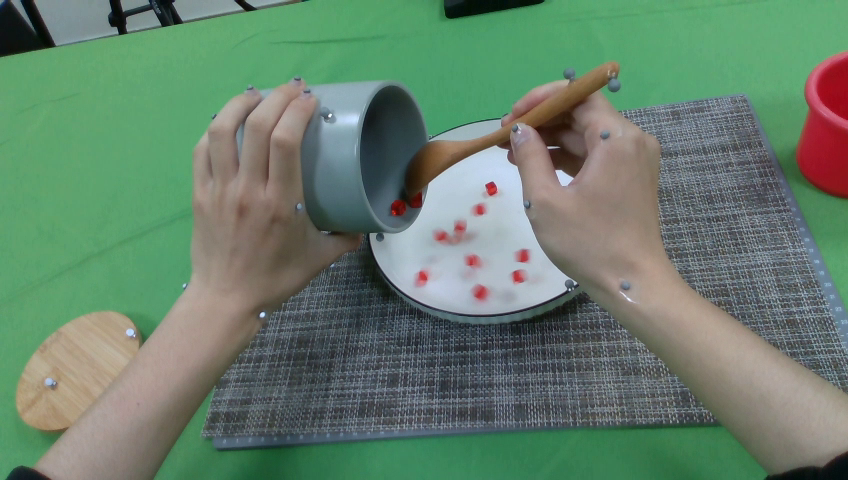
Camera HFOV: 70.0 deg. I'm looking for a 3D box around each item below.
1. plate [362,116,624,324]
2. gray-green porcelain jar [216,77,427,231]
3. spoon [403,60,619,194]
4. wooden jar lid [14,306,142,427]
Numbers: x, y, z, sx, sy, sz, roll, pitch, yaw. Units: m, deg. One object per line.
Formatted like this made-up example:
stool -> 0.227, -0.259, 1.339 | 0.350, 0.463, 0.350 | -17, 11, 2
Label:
plate -> 0.054, -0.018, 0.495 | 0.207, 0.039, 0.205 | -7, 51, 9
gray-green porcelain jar -> -0.076, -0.061, 0.442 | 0.126, 0.107, 0.105 | 4, 54, 25
spoon -> 0.043, -0.069, 0.384 | 0.193, 0.022, 0.041 | -17, 51, 48
wooden jar lid -> -0.285, 0.105, 0.506 | 0.108, 0.021, 0.107 | -6, 52, 8
